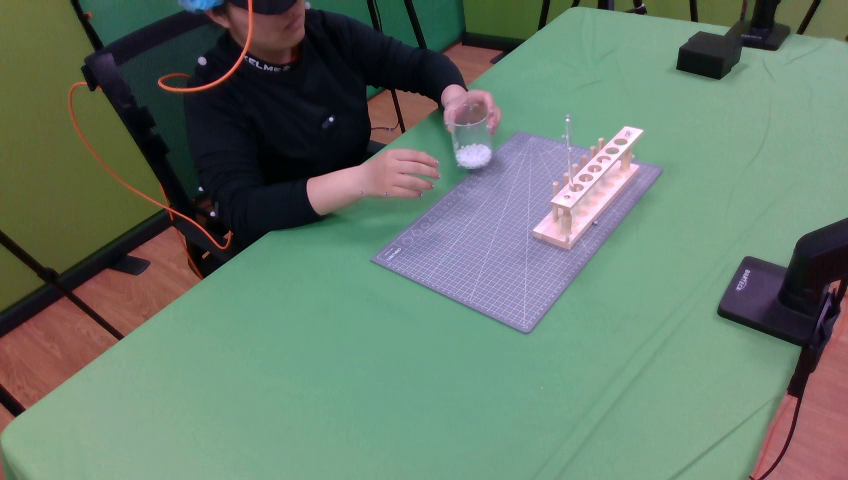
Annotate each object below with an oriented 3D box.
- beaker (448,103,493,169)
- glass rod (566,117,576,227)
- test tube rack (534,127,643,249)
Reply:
[{"bbox_3d":[0.087,-0.188,1.094,0.074,0.101,0.083,-1,44,12],"label":"beaker"},{"bbox_3d":[0.218,-0.094,0.895,0.008,0.201,0.008,-8,41,8],"label":"glass rod"},{"bbox_3d":[0.271,-0.094,0.989,0.066,0.085,0.243,23,50,33],"label":"test tube rack"}]
